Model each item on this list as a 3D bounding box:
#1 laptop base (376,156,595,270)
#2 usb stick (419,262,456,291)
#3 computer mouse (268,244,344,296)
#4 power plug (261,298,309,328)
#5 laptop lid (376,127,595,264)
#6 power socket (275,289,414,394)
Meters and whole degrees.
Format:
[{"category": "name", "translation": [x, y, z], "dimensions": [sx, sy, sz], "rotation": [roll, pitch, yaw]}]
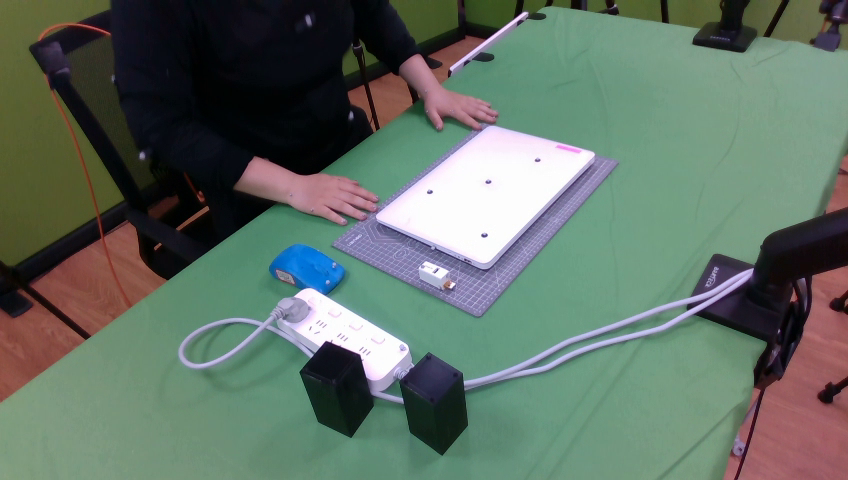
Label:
[{"category": "laptop base", "translation": [0.115, -0.086, 1.057], "dimensions": [0.233, 0.023, 0.355], "rotation": [21, 48, 34]}, {"category": "usb stick", "translation": [0.021, 0.056, 0.892], "dimensions": [0.058, 0.027, 0.021], "rotation": [25, 47, 31]}, {"category": "computer mouse", "translation": [-0.182, 0.044, 0.933], "dimensions": [0.116, 0.041, 0.063], "rotation": [23, 46, 25]}, {"category": "power plug", "translation": [-0.193, 0.107, 0.831], "dimensions": [0.073, 0.053, 0.035], "rotation": [-32, 43, -25]}, {"category": "laptop lid", "translation": [0.112, -0.096, 1.051], "dimensions": [0.239, 0.013, 0.358], "rotation": [24, 49, 34]}, {"category": "power socket", "translation": [-0.114, 0.133, 0.821], "dimensions": [0.225, 0.033, 0.072], "rotation": [25, 49, 33]}]
